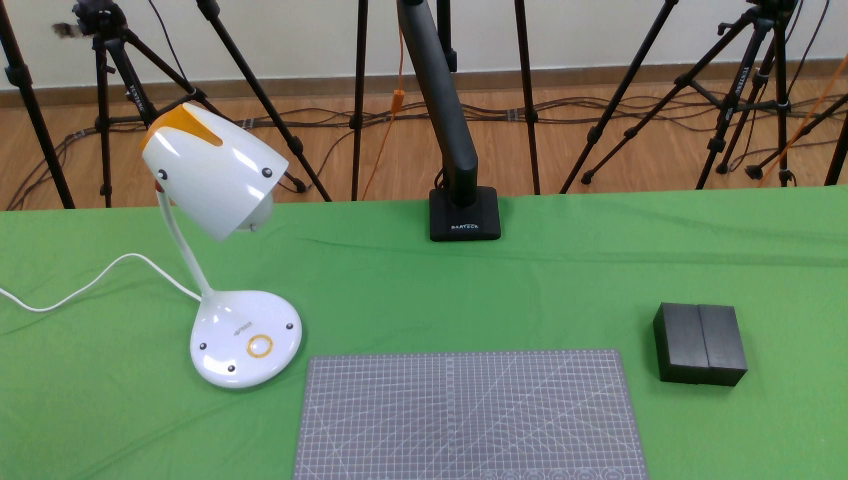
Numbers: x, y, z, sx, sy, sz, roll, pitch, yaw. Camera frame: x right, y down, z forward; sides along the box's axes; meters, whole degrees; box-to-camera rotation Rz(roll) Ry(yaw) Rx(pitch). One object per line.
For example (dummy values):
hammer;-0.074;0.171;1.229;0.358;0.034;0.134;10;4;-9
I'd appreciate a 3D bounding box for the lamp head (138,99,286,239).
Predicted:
lamp head;-0.220;-0.078;0.608;0.123;0.112;0.112;39;53;-17

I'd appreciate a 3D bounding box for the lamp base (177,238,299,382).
lamp base;-0.279;0.084;0.843;0.178;0.182;0.160;25;57;24
